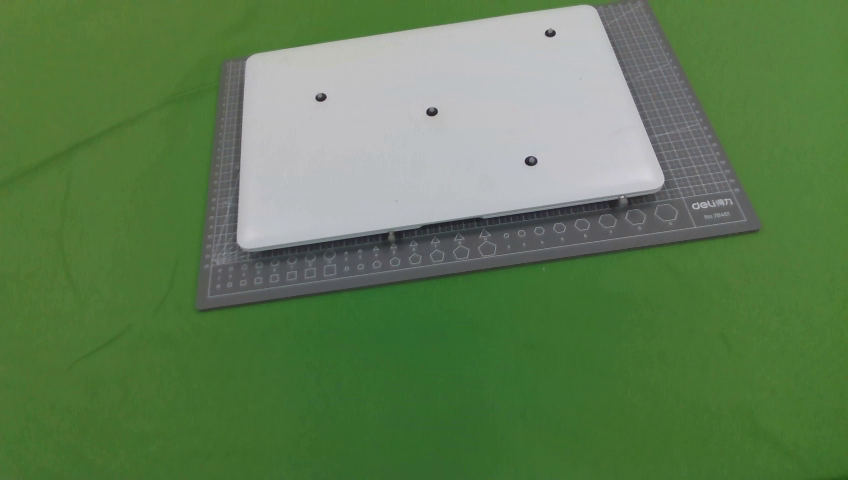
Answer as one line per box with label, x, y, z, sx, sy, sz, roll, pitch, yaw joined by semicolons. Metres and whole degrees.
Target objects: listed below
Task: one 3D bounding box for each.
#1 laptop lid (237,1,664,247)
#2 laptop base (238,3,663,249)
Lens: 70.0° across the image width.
laptop lid;0.009;-0.116;0.545;0.357;0.013;0.239;-7;59;2
laptop base;0.010;-0.112;0.556;0.354;0.023;0.233;-8;61;1
